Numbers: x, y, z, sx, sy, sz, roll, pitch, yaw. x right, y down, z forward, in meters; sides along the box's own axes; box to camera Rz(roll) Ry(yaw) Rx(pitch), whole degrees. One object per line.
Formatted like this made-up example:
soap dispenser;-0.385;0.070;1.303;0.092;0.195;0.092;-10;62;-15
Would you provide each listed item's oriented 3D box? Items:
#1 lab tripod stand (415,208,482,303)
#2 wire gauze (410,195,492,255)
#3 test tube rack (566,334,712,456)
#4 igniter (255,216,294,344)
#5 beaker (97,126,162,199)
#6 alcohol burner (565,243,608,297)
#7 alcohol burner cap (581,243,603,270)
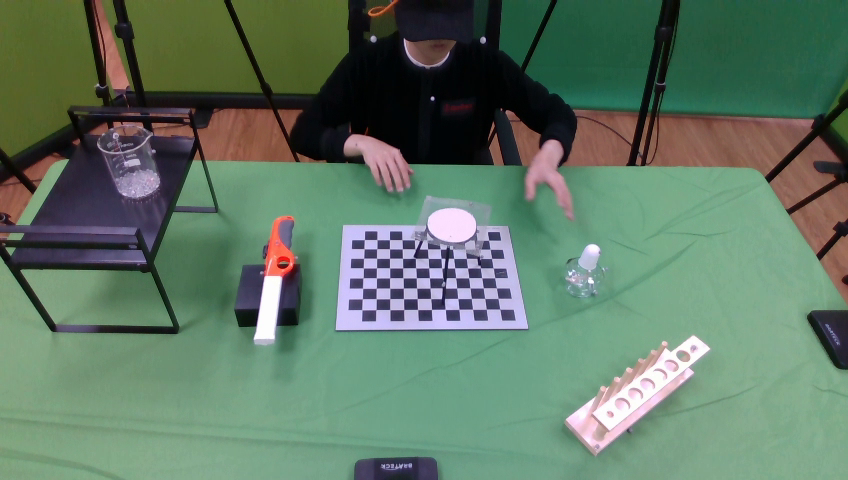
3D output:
lab tripod stand;0.043;0.018;1.097;0.148;0.132;0.147;1;47;0
wire gauze;0.049;-0.031;1.051;0.125;0.011;0.121;12;47;9
test tube rack;0.338;0.228;0.950;0.242;0.085;0.066;-26;52;-26
igniter;-0.258;0.059;1.051;0.057;0.025;0.274;2;48;-6
beaker;-0.468;-0.124;0.979;0.084;0.101;0.073;-25;53;-26
alcohol burner;0.299;0.048;1.103;0.078;0.119;0.077;3;45;-3
alcohol burner cap;0.302;0.026;1.082;0.034;0.048;0.033;4;45;-4
